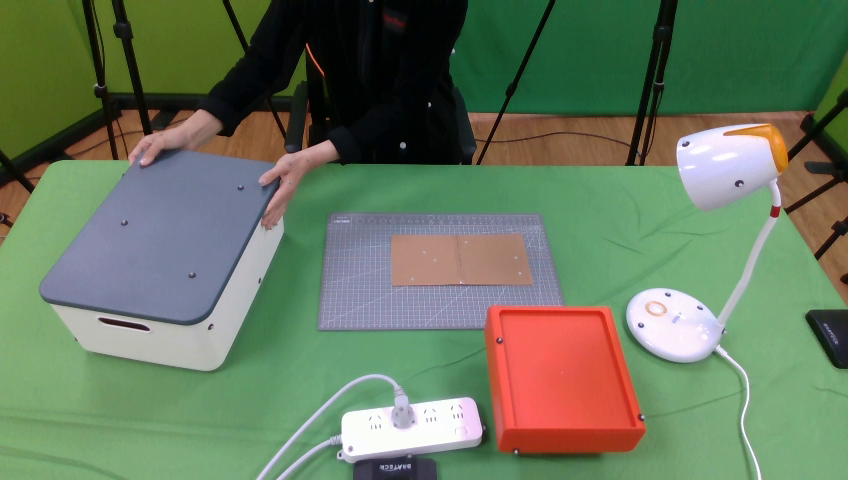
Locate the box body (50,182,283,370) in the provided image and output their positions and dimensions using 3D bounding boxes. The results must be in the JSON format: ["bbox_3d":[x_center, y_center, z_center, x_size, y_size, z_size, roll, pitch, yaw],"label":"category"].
[{"bbox_3d":[-0.414,0.027,1.042,0.254,0.161,0.362,8,46,4],"label":"box body"}]

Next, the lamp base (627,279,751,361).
[{"bbox_3d":[0.459,0.100,1.027,0.178,0.181,0.160,27,51,17],"label":"lamp base"}]

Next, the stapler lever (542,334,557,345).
[{"bbox_3d":[0.225,0.181,0.928,0.118,0.040,0.027,27,34,15],"label":"stapler lever"}]

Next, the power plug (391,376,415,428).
[{"bbox_3d":[-0.031,0.249,0.917,0.035,0.053,0.072,3,46,0],"label":"power plug"}]

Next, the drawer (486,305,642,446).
[{"bbox_3d":[0.202,0.200,0.918,0.195,0.073,0.210,2,47,-4],"label":"drawer"}]

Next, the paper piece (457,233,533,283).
[{"bbox_3d":[0.136,0.035,1.182,0.136,0.009,0.137,3,45,-6],"label":"paper piece"}]

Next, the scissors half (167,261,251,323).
[{"bbox_3d":[-0.383,0.091,1.081,0.040,0.013,0.175,23,51,33],"label":"scissors half"}]

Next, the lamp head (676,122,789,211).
[{"bbox_3d":[0.423,-0.104,0.819,0.122,0.113,0.112,-13,33,40],"label":"lamp head"}]

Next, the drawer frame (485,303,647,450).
[{"bbox_3d":[0.204,0.202,0.917,0.202,0.083,0.212,1,47,-4],"label":"drawer frame"}]

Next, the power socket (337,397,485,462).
[{"bbox_3d":[-0.018,0.285,0.915,0.227,0.033,0.071,-4,46,-8],"label":"power socket"}]

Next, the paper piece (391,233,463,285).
[{"bbox_3d":[0.003,0.035,1.170,0.135,0.004,0.135,1,46,-4],"label":"paper piece"}]

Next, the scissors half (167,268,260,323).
[{"bbox_3d":[-0.369,0.100,1.069,0.175,0.013,0.040,-29,49,-21],"label":"scissors half"}]

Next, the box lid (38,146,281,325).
[{"bbox_3d":[-0.410,-0.026,0.990,0.263,0.015,0.369,9,46,4],"label":"box lid"}]

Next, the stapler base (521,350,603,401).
[{"bbox_3d":[0.217,0.203,0.942,0.130,0.024,0.041,26,33,16],"label":"stapler base"}]
